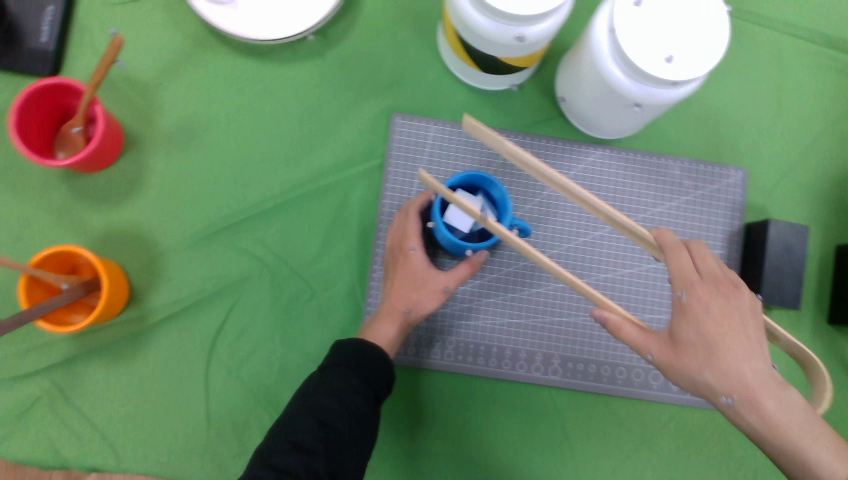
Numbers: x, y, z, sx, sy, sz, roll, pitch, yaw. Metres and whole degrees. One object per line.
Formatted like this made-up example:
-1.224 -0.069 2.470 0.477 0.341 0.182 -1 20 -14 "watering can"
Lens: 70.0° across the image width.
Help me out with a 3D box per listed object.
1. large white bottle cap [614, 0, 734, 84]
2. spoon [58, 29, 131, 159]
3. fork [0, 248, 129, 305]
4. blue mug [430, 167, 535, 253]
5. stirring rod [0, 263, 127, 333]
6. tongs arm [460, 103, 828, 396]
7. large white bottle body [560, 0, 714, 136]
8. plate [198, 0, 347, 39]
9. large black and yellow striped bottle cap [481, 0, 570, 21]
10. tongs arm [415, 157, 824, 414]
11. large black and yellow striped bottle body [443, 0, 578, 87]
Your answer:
0.241 -0.209 0.584 0.115 0.018 0.114 0 85 -5 "large white bottle cap"
-0.351 -0.151 0.644 0.194 0.021 0.041 -39 83 37 "spoon"
-0.407 0.024 0.623 0.209 0.018 0.028 33 80 -44 "fork"
0.067 -0.026 0.679 0.117 0.106 0.082 16 84 -3 "blue mug"
-0.390 0.065 0.626 0.014 0.006 0.176 56 42 -1 "stirring rod"
0.182 -0.001 0.530 0.386 0.028 0.028 39 70 9 "tongs arm"
0.236 -0.200 0.667 0.131 0.185 0.130 0 85 -4 "large white bottle body"
-0.179 -0.337 0.724 0.208 0.039 0.207 0 86 -4 "plate"
0.098 -0.269 0.580 0.115 0.019 0.115 0 87 -5 "large black and yellow striped bottle cap"
0.157 0.030 0.520 0.383 0.026 0.050 38 73 9 "tongs arm"
0.093 -0.259 0.663 0.131 0.184 0.130 0 85 -3 "large black and yellow striped bottle body"
